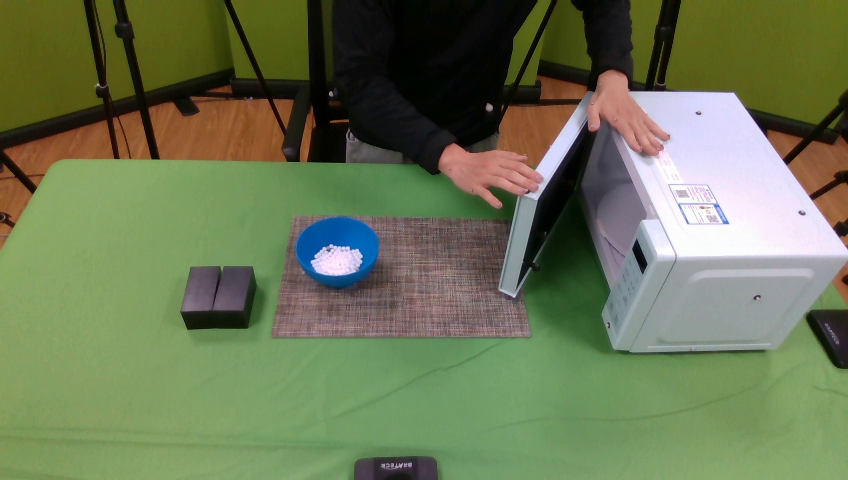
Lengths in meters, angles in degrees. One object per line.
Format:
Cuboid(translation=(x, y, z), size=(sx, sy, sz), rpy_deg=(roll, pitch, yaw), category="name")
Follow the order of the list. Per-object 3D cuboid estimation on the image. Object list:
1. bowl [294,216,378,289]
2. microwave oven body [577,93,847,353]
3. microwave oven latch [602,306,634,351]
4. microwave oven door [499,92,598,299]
Cuboid(translation=(-0.158, 0.036, 1.110), size=(0.151, 0.077, 0.150), rpy_deg=(3, 45, -2), category="bowl")
Cuboid(translation=(0.475, -0.041, 1.109), size=(0.326, 0.261, 0.438), rpy_deg=(-1, 45, -4), category="microwave oven body")
Cuboid(translation=(0.332, 0.153, 1.044), size=(0.030, 0.029, 0.078), rpy_deg=(0, 45, -4), category="microwave oven latch")
Cuboid(translation=(0.239, -0.092, 1.133), size=(0.039, 0.245, 0.355), rpy_deg=(22, 48, 18), category="microwave oven door")
